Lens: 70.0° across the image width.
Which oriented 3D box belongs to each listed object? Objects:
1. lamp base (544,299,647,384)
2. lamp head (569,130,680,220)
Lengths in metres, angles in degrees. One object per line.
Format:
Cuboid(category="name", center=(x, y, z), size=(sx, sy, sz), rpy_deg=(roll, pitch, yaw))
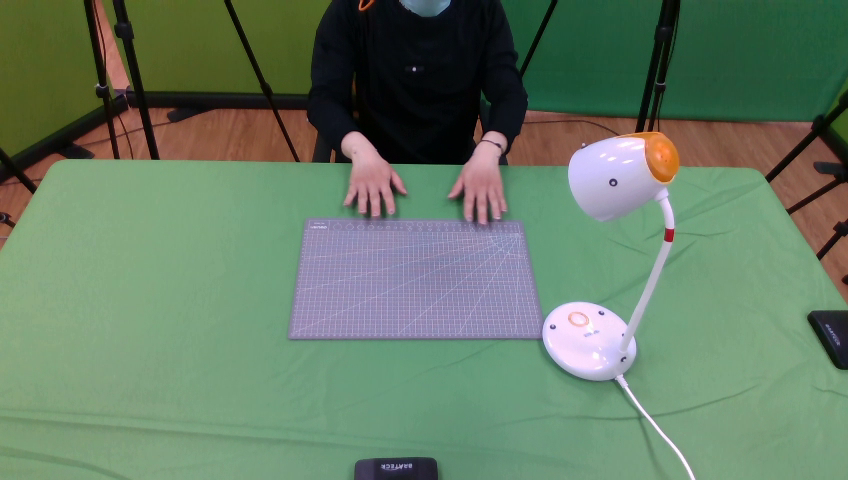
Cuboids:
Cuboid(category="lamp base", center=(0.299, 0.124, 0.984), size=(0.161, 0.181, 0.178), rpy_deg=(-23, 55, -23))
Cuboid(category="lamp head", center=(0.272, -0.090, 0.798), size=(0.113, 0.122, 0.112), rpy_deg=(7, 78, -33))
